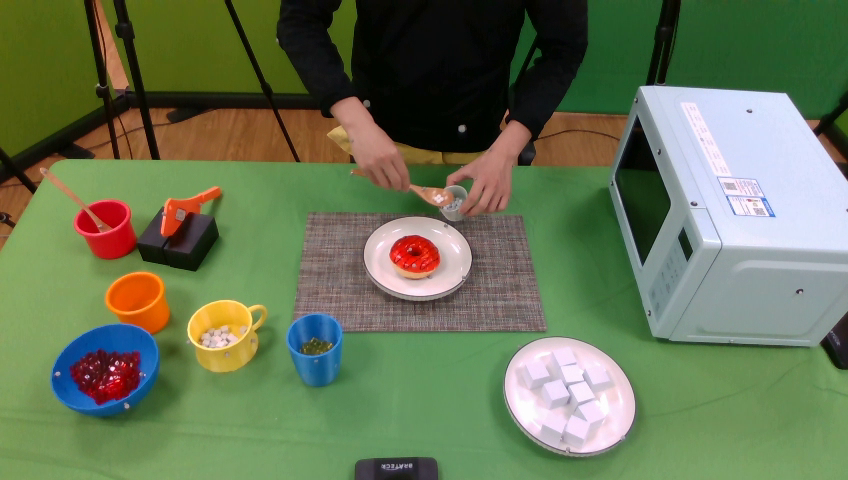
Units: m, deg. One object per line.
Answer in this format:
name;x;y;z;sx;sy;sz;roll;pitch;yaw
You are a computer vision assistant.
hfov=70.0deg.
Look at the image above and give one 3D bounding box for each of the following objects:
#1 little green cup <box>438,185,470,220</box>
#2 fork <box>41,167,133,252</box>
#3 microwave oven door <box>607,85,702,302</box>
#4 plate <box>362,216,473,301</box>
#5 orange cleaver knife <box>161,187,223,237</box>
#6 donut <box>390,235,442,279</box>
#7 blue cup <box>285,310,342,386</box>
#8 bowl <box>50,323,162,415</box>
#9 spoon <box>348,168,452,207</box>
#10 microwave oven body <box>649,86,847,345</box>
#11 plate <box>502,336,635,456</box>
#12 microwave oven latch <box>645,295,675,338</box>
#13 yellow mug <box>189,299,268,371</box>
little green cup;0.057;-0.068;1.134;0.061;0.039;0.061;-9;60;15
fork;-0.624;-0.056;1.121;0.208;0.018;0.028;49;51;-15
microwave oven door;0.423;-0.094;1.141;0.039;0.245;0.353;2;46;-1
plate;-0.012;0.038;1.145;0.209;0.038;0.208;2;46;-2
orange cleaver knife;-0.448;-0.058;1.181;0.012;0.077;0.211;13;17;6
donut;-0.016;0.032;1.135;0.099;0.048;0.098;3;44;-3
blue cup;-0.170;0.179;0.958;0.093;0.101;0.092;2;44;-1
bowl;-0.472;0.209;0.924;0.151;0.077;0.150;2;45;-2
spoon;-0.043;-0.100;1.098;0.194;0.022;0.041;19;56;-10
microwave oven body;0.568;-0.053;1.118;0.326;0.261;0.439;2;45;-1
plate;0.225;0.248;0.963;0.208;0.039;0.206;2;46;-2
microwave oven latch;0.412;0.134;1.061;0.030;0.029;0.078;3;45;0
yellow mug;-0.316;0.148;1.002;0.131;0.064;0.099;-32;56;-31
